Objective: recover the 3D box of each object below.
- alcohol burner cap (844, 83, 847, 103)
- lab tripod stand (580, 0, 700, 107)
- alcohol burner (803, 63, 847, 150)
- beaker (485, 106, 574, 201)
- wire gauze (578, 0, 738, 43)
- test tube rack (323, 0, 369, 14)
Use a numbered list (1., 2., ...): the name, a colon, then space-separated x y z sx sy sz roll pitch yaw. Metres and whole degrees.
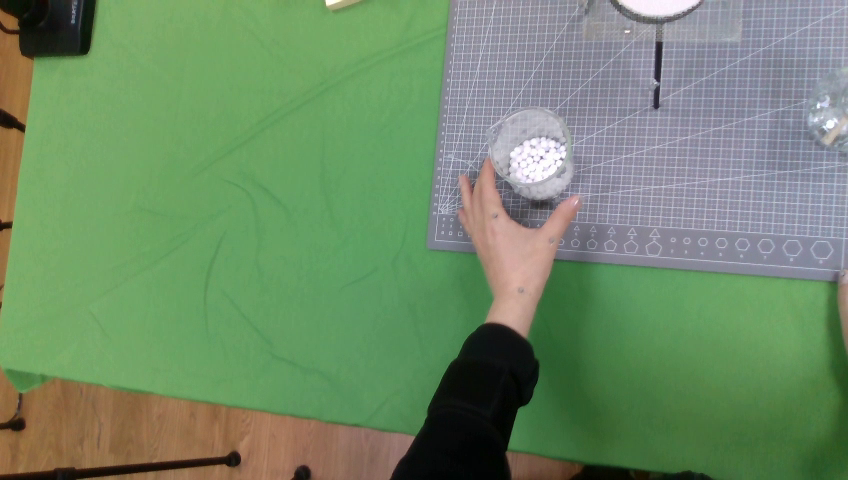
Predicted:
1. alcohol burner cap: 0.360 -0.122 0.479 0.034 0.048 0.034 -1 88 13
2. lab tripod stand: 0.210 -0.213 0.559 0.148 0.132 0.148 -1 85 15
3. alcohol burner: 0.371 -0.118 0.513 0.077 0.119 0.077 -1 84 15
4. beaker: 0.107 -0.081 0.596 0.083 0.101 0.074 25 91 19
5. wire gauze: 0.191 -0.220 0.495 0.124 0.011 0.121 4 88 17
6. test tube rack: -0.019 -0.336 0.666 0.242 0.085 0.066 -13 81 15
